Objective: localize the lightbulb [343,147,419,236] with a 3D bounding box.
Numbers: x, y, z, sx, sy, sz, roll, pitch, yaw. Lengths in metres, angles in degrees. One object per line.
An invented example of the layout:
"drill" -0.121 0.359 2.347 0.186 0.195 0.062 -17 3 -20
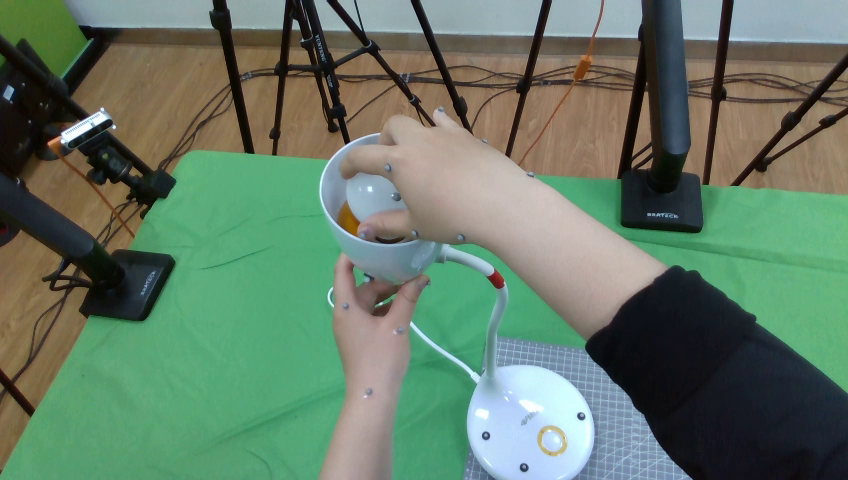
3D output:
"lightbulb" -0.032 -0.031 0.493 0.059 0.108 0.059 -1 62 2

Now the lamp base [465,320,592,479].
"lamp base" 0.114 0.174 0.719 0.177 0.182 0.160 29 63 28

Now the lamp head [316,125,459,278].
"lamp head" -0.025 -0.019 0.519 0.112 0.124 0.111 -2 58 4
